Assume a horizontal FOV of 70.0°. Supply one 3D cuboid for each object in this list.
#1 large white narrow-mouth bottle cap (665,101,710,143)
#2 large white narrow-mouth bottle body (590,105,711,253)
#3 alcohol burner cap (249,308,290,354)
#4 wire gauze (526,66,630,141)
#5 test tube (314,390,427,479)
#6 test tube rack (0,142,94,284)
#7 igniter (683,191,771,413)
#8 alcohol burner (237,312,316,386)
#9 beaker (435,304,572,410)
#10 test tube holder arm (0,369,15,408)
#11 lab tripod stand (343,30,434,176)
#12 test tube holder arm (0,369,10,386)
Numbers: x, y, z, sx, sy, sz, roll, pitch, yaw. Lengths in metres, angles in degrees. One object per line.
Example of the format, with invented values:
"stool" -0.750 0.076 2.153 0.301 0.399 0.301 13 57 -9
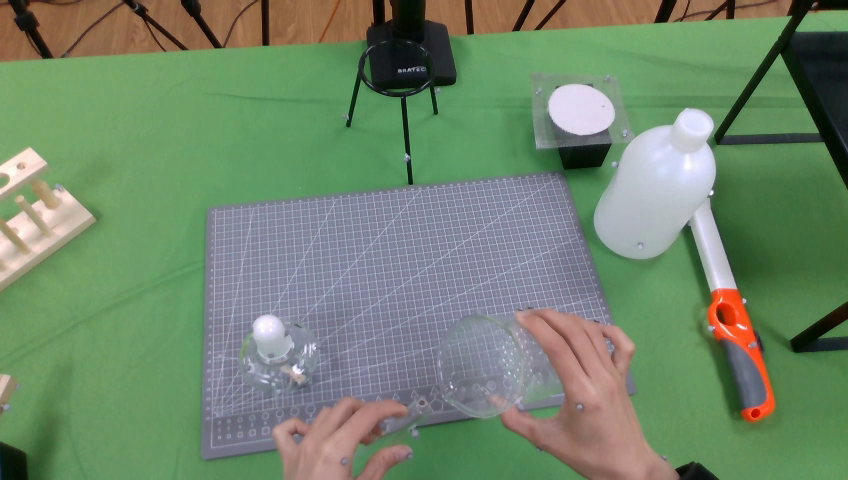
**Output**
"large white narrow-mouth bottle cap" 0.258 -0.116 0.595 0.038 0.024 0.037 1 60 -2
"large white narrow-mouth bottle body" 0.255 -0.072 0.669 0.102 0.196 0.101 1 60 -2
"alcohol burner cap" -0.145 0.083 0.563 0.034 0.048 0.033 0 55 1
"wire gauze" 0.194 -0.177 0.775 0.121 0.011 0.124 0 60 -3
"test tube" -0.049 0.169 0.494 0.017 0.150 0.017 34 27 -19
"test tube rack" -0.495 0.008 0.648 0.066 0.086 0.242 38 66 17
"igniter" 0.340 0.060 0.695 0.057 0.025 0.274 4 60 -13
"alcohol burner" -0.147 0.100 0.595 0.078 0.120 0.077 2 59 -3
"beaker" 0.065 0.091 0.480 0.101 0.084 0.073 5 46 -53
"test tube holder arm" -0.404 0.200 0.529 0.013 0.015 0.177 1 60 8
"lab tripod stand" -0.034 -0.174 0.747 0.148 0.132 0.147 2 61 -4
"test tube holder arm" -0.406 0.162 0.552 0.010 0.015 0.087 1 60 8
